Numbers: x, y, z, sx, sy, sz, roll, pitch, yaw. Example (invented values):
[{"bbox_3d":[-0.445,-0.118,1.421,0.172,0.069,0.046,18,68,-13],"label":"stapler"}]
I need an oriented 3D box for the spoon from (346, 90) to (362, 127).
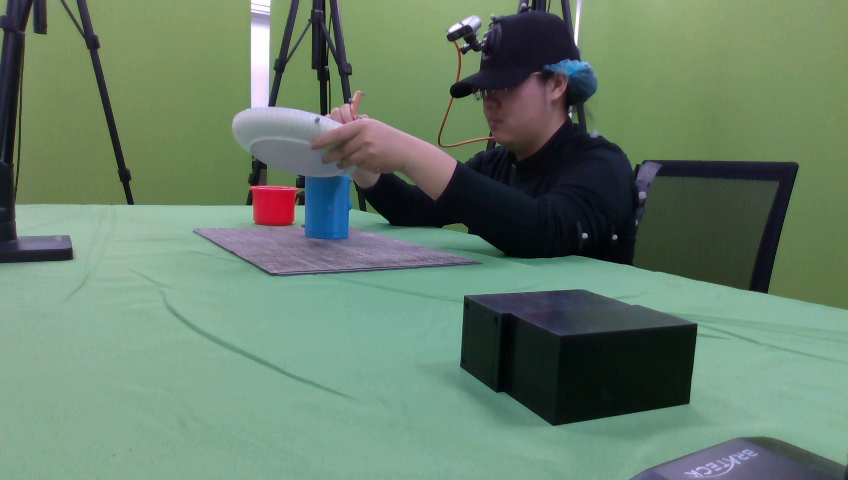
[{"bbox_3d":[-0.138,-0.197,1.066,0.041,0.022,0.193,4,52,10],"label":"spoon"}]

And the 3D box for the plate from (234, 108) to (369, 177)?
[{"bbox_3d":[-0.191,-0.141,0.940,0.208,0.039,0.208,7,-14,2],"label":"plate"}]

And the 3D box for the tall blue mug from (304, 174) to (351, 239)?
[{"bbox_3d":[-0.178,-0.062,1.062,0.078,0.108,0.106,-5,11,-38],"label":"tall blue mug"}]
